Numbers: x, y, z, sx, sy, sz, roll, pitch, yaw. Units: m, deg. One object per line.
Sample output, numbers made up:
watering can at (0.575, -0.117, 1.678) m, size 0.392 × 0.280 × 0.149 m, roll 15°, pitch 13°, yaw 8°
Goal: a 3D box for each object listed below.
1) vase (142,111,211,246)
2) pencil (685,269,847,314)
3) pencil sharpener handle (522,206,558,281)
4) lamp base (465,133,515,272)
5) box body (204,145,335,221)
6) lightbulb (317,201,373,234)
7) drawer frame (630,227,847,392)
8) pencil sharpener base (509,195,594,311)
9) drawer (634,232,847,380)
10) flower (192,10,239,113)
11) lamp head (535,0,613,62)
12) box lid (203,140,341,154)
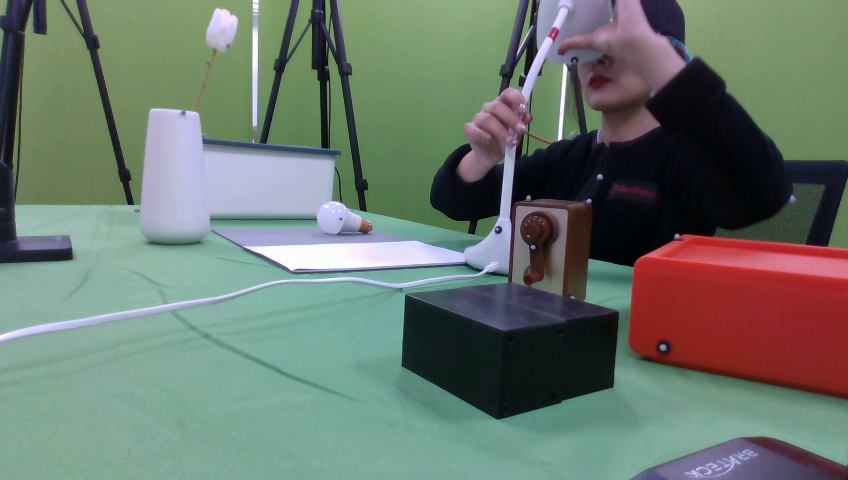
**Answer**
vase at (-0.378, -0.093, 0.920) m, size 0.098 × 0.200 × 0.098 m, roll 2°, pitch 9°, yaw 0°
pencil at (0.308, 0.045, 0.516) m, size 0.194 × 0.012 × 0.012 m, roll 13°, pitch 5°, yaw -11°
pencil sharpener handle at (0.101, 0.003, 0.555) m, size 0.036 × 0.067 × 0.031 m, roll 0°, pitch 6°, yaw 31°
lamp base at (0.134, -0.052, 0.809) m, size 0.160 × 0.180 × 0.180 m, roll 7°, pitch 11°, yaw 26°
box body at (-0.411, -0.135, 1.386) m, size 0.366 × 0.160 × 0.253 m, roll -2°, pitch 9°, yaw -29°
lightbulb at (-0.143, -0.036, 1.108) m, size 0.108 × 0.059 × 0.059 m, roll 16°, pitch 0°, yaw -28°
drawer frame at (0.292, 0.043, 0.484) m, size 0.201 × 0.082 × 0.214 m, roll 7°, pitch 9°, yaw 29°
pencil sharpener base at (0.126, 0.011, 0.601) m, size 0.061 × 0.107 × 0.077 m, roll 7°, pitch 9°, yaw 30°
drawer at (0.292, 0.045, 0.488) m, size 0.193 × 0.073 × 0.213 m, roll 7°, pitch 10°, yaw 30°
flower at (-0.354, -0.174, 0.915) m, size 0.038 × 0.361 × 0.044 m, roll 17°, pitch -3°, yaw 12°
lamp head at (0.205, -0.326, 0.840) m, size 0.112 × 0.112 × 0.123 m, roll 5°, pitch -29°, yaw 20°
box lid at (-0.396, -0.212, 1.373) m, size 0.373 × 0.015 × 0.262 m, roll -1°, pitch 9°, yaw -29°
